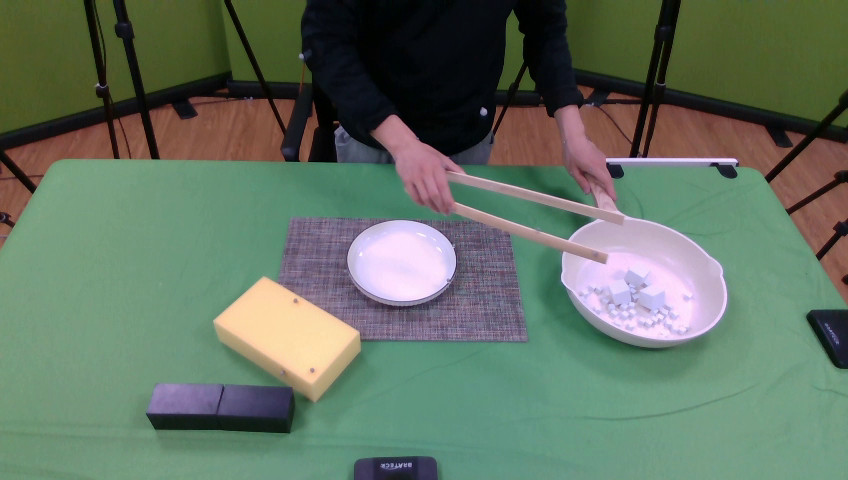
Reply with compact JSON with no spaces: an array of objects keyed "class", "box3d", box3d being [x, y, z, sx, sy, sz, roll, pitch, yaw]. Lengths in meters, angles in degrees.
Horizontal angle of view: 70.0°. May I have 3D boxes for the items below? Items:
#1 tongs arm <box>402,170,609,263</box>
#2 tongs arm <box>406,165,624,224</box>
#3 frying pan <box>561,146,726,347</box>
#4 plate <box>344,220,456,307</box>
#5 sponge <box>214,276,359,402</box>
[{"class":"tongs arm","box3d":[0.127,-0.044,1.025,0.383,0.027,0.050,19,56,19]},{"class":"tongs arm","box3d":[0.150,-0.081,1.053,0.386,0.028,0.028,15,58,17]},{"class":"frying pan","box3d":[0.378,-0.005,1.175,0.307,0.103,0.484,-4,55,-9]},{"class":"plate","box3d":[-0.044,0.047,1.133,0.208,0.039,0.206,3,46,-2]},{"class":"sponge","box3d":[-0.224,0.158,0.998,0.206,0.061,0.118,27,52,18]}]
